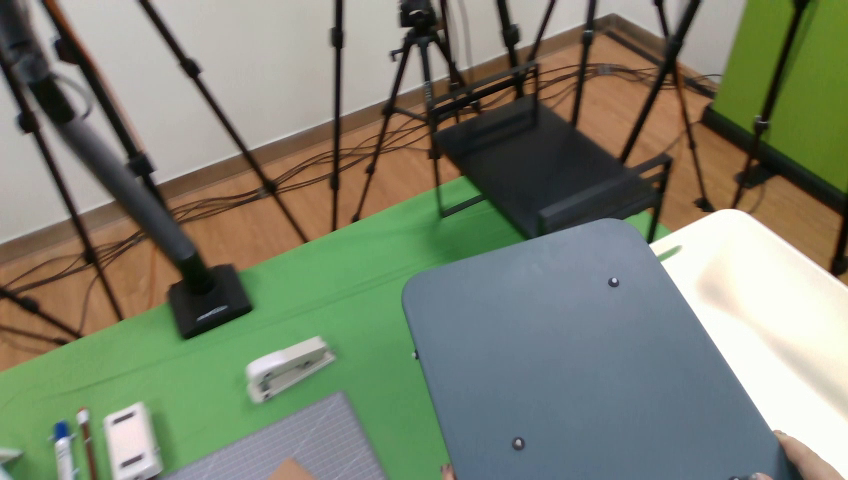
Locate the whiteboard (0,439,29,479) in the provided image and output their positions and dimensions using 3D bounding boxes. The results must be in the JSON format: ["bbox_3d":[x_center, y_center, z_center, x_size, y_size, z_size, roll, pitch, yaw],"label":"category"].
[{"bbox_3d":[-0.630,0.255,0.732,0.217,0.308,0.142,-24,29,-14],"label":"whiteboard"}]

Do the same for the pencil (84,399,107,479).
[{"bbox_3d":[-0.450,0.294,0.835,0.012,0.012,0.192,-26,49,-17],"label":"pencil"}]

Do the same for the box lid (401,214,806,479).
[{"bbox_3d":[0.144,0.139,0.535,0.263,0.015,0.367,-16,54,-7],"label":"box lid"}]

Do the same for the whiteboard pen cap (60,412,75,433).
[{"bbox_3d":[-0.510,0.264,0.866,0.018,0.018,0.033,-25,47,-16],"label":"whiteboard pen cap"}]

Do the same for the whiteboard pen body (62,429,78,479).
[{"bbox_3d":[-0.485,0.301,0.829,0.017,0.017,0.139,-23,48,-14],"label":"whiteboard pen body"}]

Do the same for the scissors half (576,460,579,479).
[{"bbox_3d":[0.175,0.337,0.675,0.013,0.040,0.174,-3,65,12],"label":"scissors half"}]

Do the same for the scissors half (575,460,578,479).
[{"bbox_3d":[0.170,0.326,0.659,0.013,0.040,0.173,-6,49,16],"label":"scissors half"}]

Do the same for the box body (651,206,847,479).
[{"bbox_3d":[0.417,0.157,0.756,0.254,0.162,0.360,-24,49,-15],"label":"box body"}]

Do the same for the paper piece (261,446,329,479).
[{"bbox_3d":[-0.168,0.348,0.750,0.137,0.009,0.136,30,61,28],"label":"paper piece"}]

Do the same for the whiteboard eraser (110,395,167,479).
[{"bbox_3d":[-0.391,0.271,0.830,0.055,0.042,0.111,-25,49,-15],"label":"whiteboard eraser"}]

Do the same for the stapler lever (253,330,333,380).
[{"bbox_3d":[-0.192,0.165,0.886,0.118,0.040,0.026,-28,52,-19],"label":"stapler lever"}]

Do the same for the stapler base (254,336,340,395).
[{"bbox_3d":[-0.192,0.182,0.903,0.131,0.024,0.041,-27,52,-20],"label":"stapler base"}]
